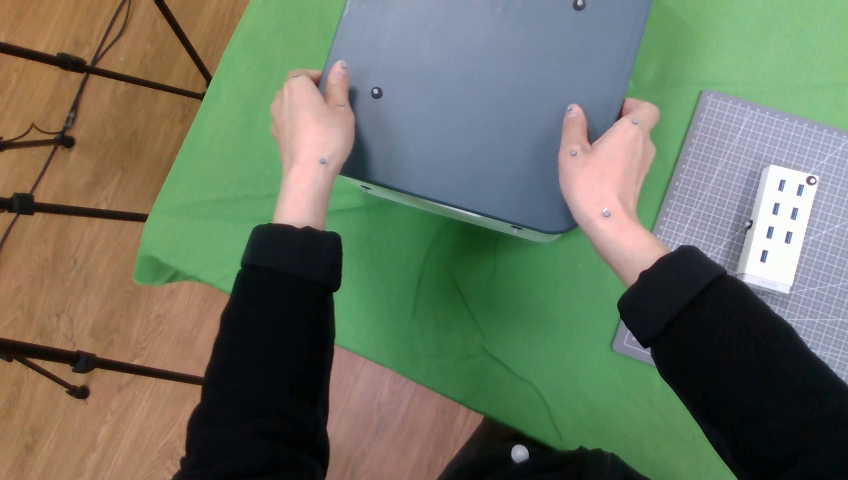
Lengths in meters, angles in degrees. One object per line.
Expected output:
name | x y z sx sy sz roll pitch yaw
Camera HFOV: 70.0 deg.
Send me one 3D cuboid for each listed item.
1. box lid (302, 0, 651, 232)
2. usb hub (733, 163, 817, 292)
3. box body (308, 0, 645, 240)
box lid | 0.060 -0.208 0.537 0.262 0.015 0.371 16 86 9
usb hub | 0.358 -0.013 0.619 0.049 0.025 0.125 16 86 9
box body | 0.071 -0.200 0.611 0.253 0.161 0.363 16 86 9
